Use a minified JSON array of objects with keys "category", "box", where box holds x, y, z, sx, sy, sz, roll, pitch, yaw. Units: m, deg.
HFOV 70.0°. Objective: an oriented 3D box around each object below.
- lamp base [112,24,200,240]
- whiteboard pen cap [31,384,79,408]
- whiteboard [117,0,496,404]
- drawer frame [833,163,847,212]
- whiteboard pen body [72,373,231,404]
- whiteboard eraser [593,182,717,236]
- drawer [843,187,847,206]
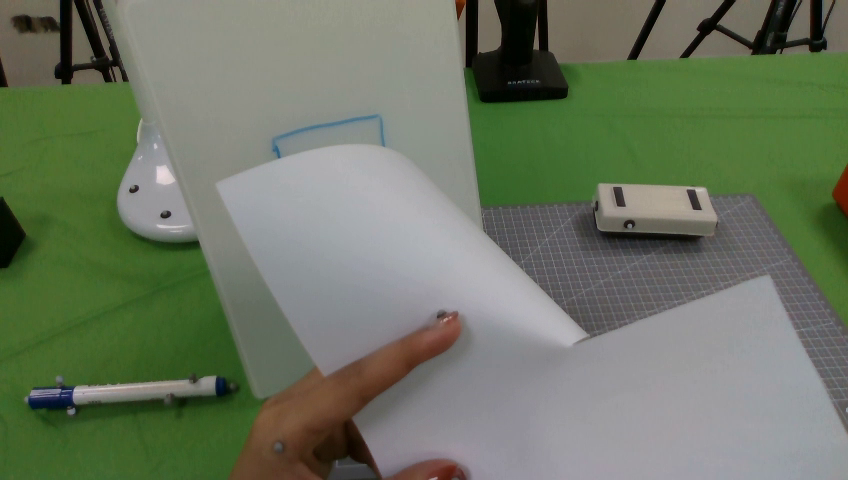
[{"category":"lamp base","box":[-0.261,-0.117,0.619,0.177,0.182,0.160,26,50,29]},{"category":"whiteboard pen cap","box":[-0.287,0.122,0.475,0.033,0.018,0.018,-1,43,-9]},{"category":"whiteboard","box":[-0.082,-0.061,0.506,0.217,0.308,0.142,-18,26,-16]},{"category":"drawer frame","box":[0.537,-0.005,0.555,0.202,0.083,0.211,-3,43,0]},{"category":"whiteboard pen body","box":[-0.227,0.119,0.482,0.141,0.017,0.017,-3,43,-7]},{"category":"whiteboard eraser","box":[0.231,-0.030,0.614,0.112,0.042,0.055,2,42,3]},{"category":"drawer","box":[0.537,0.000,0.551,0.194,0.074,0.209,-1,43,1]}]
